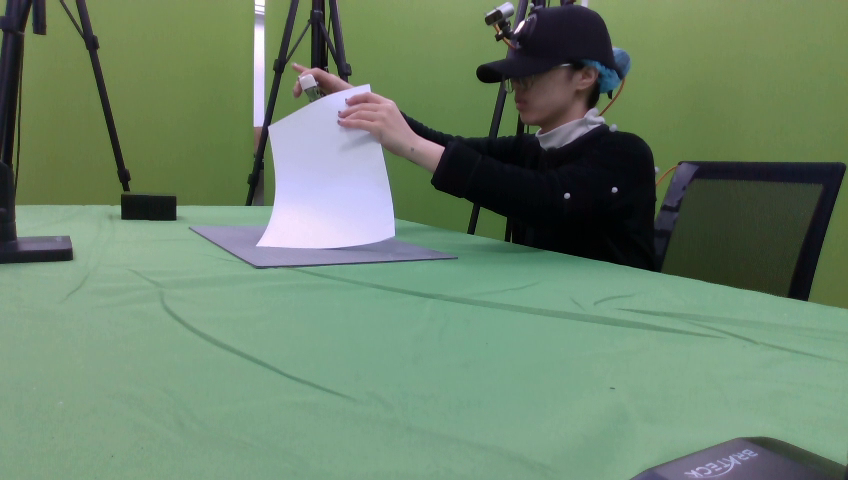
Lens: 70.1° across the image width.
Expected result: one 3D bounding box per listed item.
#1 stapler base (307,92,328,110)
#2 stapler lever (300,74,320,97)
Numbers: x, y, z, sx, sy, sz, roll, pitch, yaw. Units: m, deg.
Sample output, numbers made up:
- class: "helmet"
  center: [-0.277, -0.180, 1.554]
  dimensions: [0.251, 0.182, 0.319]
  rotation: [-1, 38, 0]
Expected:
- class: "stapler base"
  center: [-0.200, -0.261, 1.121]
  dimensions: [0.041, 0.024, 0.130]
  rotation: [-20, 17, -3]
- class: "stapler lever"
  center: [-0.210, -0.284, 1.115]
  dimensions: [0.027, 0.040, 0.118]
  rotation: [-20, 17, -3]
